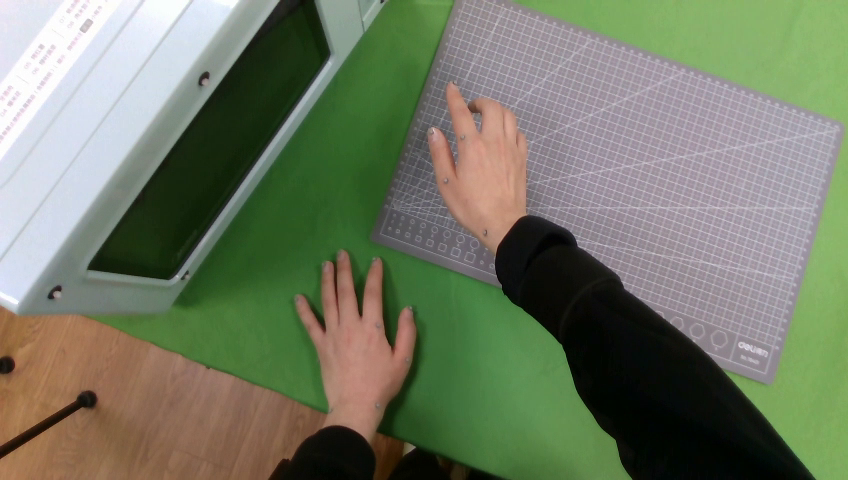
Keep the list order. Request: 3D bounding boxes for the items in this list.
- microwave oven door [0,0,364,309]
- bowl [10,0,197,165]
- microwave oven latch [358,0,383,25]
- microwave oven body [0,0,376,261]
[{"bbox_3d":[-0.172,-0.097,0.507,0.039,0.244,0.355,34,84,2],"label":"microwave oven door"},{"bbox_3d":[-0.270,-0.132,0.543,0.151,0.077,0.151,0,81,0],"label":"bowl"},{"bbox_3d":[-0.049,-0.266,0.629,0.030,0.029,0.079,35,85,1],"label":"microwave oven latch"},{"bbox_3d":[-0.269,-0.213,0.519,0.326,0.260,0.441,34,85,1],"label":"microwave oven body"}]
